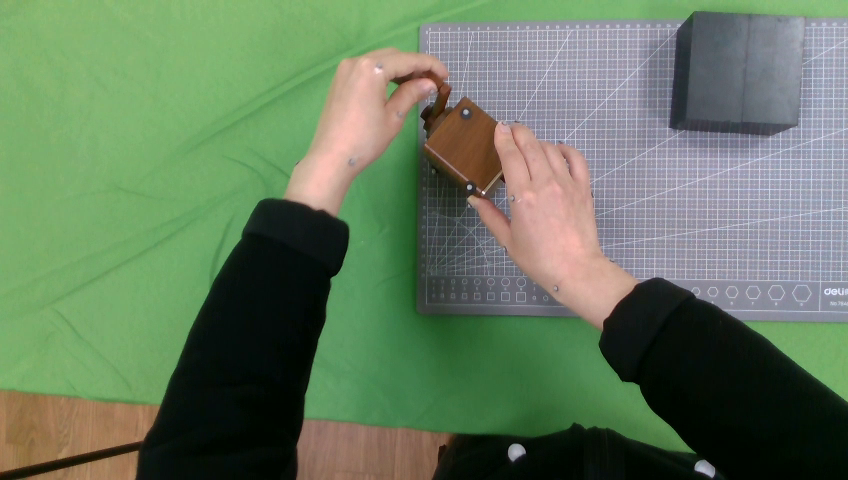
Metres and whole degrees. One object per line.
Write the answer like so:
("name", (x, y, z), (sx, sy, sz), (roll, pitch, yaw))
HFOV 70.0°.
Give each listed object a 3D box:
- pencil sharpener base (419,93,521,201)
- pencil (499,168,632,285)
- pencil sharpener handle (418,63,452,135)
("pencil sharpener base", (0.042, -0.085, 0.571), (0.076, 0.107, 0.061), (40, 93, 4))
("pencil", (0.111, -0.025, 0.544), (0.194, 0.012, 0.012), (41, 93, 0))
("pencil sharpener handle", (0.005, -0.125, 0.532), (0.030, 0.068, 0.036), (40, 62, 4))
